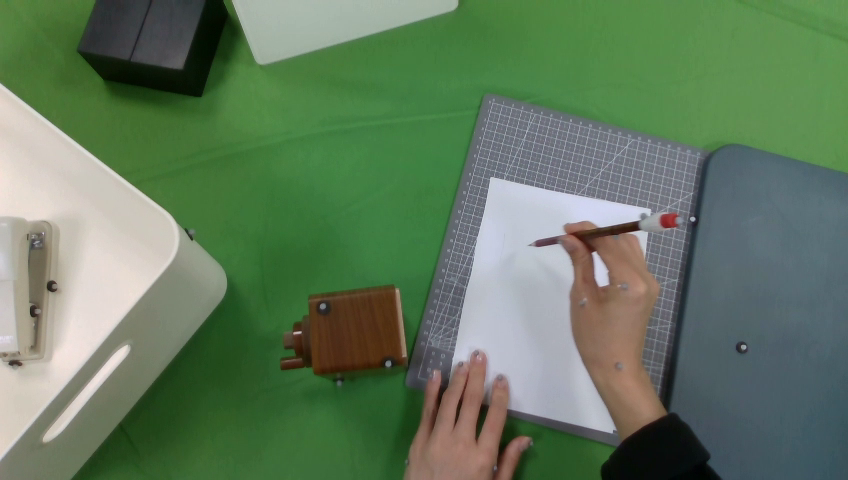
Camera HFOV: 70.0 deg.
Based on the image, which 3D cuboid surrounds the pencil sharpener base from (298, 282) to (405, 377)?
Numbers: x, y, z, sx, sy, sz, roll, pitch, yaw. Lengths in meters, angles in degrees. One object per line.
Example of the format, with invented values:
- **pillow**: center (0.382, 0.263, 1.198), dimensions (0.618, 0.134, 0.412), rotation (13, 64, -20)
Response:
- **pencil sharpener base**: center (-0.057, 0.077, 0.496), dimensions (0.077, 0.107, 0.061), rotation (-7, 76, -3)

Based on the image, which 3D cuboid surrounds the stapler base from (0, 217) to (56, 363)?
- **stapler base**: center (-0.351, 0.041, 0.529), dimensions (0.041, 0.024, 0.130), rotation (-5, 78, -2)

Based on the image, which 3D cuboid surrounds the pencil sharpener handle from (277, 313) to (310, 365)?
- **pencil sharpener handle**: center (-0.107, 0.084, 0.479), dimensions (0.031, 0.068, 0.035), rotation (-7, 59, -3)

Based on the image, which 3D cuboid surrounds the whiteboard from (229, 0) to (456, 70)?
- **whiteboard**: center (-0.101, -0.343, 0.531), dimensions (0.217, 0.308, 0.142), rotation (-18, 57, -6)

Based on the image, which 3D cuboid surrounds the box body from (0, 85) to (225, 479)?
- **box body**: center (-0.375, 0.008, 0.471), dimensions (0.363, 0.161, 0.253), rotation (36, 77, 7)

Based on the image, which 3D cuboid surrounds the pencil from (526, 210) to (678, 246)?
- **pencil**: center (0.125, -0.006, 0.468), dimensions (0.012, 0.193, 0.012), rotation (2, 84, -18)

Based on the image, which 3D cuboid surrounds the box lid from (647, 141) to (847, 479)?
- **box lid**: center (0.359, 0.098, 0.559), dimensions (0.263, 0.015, 0.370), rotation (15, 76, 0)

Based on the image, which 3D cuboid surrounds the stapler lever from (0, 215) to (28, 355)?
- **stapler lever**: center (-0.350, 0.036, 0.504), dimensions (0.027, 0.040, 0.117), rotation (-5, 78, -2)
